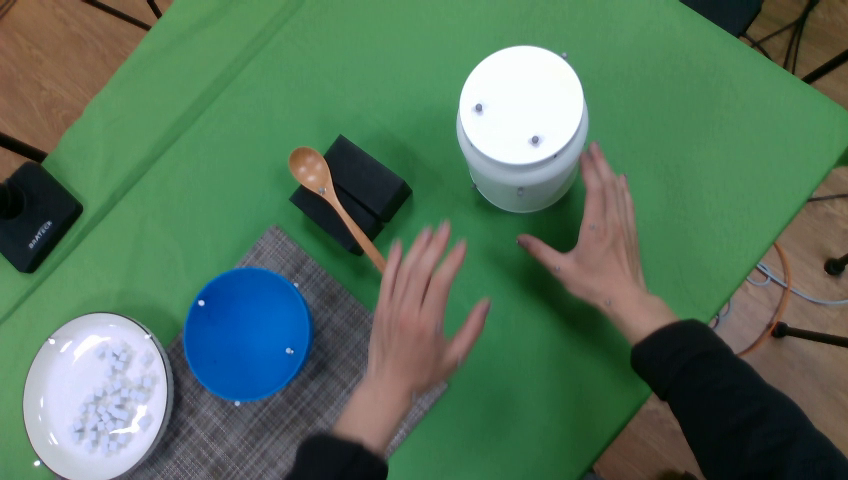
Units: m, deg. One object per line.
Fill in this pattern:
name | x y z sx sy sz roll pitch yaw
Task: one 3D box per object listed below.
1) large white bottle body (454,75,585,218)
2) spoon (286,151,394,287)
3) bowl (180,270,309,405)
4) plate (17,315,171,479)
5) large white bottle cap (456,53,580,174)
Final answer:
large white bottle body | 0.102 -0.104 0.647 0.130 0.185 0.130 -2 80 9
spoon | -0.096 -0.023 0.705 0.041 0.022 0.193 -36 83 -3
bowl | -0.197 0.114 0.715 0.151 0.077 0.151 -1 81 10
plate | -0.406 0.198 0.758 0.209 0.038 0.208 -2 79 11
large white bottle cap | 0.087 -0.119 0.565 0.114 0.018 0.114 -2 80 9
